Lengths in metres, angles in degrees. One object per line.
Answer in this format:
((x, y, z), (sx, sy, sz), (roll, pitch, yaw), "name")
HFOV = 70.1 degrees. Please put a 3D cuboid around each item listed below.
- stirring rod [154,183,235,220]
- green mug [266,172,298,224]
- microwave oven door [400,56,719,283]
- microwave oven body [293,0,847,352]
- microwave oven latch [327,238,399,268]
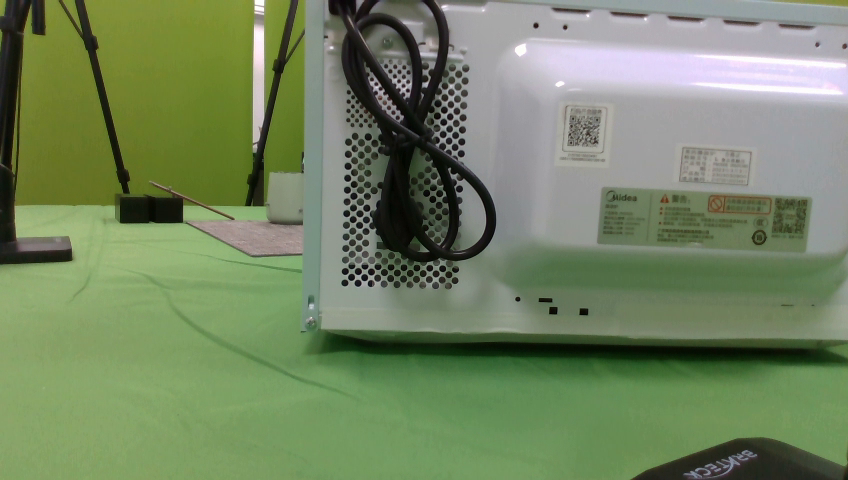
((-0.472, -0.079, 1.252), (0.177, 0.006, 0.014), (27, 4, -35), "stirring rod")
((-0.272, -0.089, 1.271), (0.092, 0.105, 0.126), (7, 8, 33), "green mug")
((0.155, -0.077, 0.697), (0.356, 0.243, 0.039), (2, 8, -5), "microwave oven door")
((0.122, -0.055, 0.550), (0.442, 0.260, 0.325), (3, 7, -5), "microwave oven body")
((-0.069, 0.015, 0.694), (0.079, 0.029, 0.030), (3, 7, -3), "microwave oven latch")
